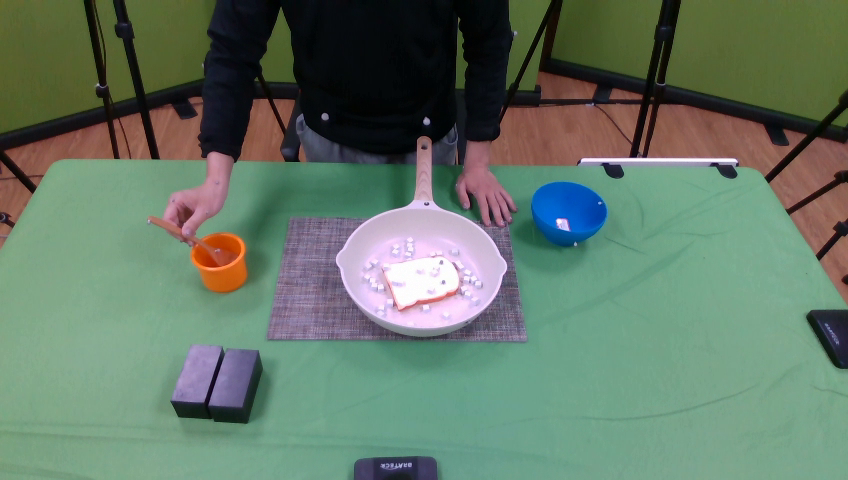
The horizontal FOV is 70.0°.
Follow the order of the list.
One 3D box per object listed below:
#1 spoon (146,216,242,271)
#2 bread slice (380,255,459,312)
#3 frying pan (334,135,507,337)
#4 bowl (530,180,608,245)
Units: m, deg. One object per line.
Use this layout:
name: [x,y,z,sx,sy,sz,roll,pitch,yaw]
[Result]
spoon: [-0.391,0.004,1.044,0.021,0.195,0.041,-20,53,23]
bread slice: [-0.005,0.075,1.119,0.134,0.018,0.106,-16,49,-16]
frying pan: [-0.004,-0.026,1.160,0.307,0.103,0.485,4,55,-2]
bowl: [0.284,-0.044,1.222,0.151,0.077,0.150,2,46,-2]
